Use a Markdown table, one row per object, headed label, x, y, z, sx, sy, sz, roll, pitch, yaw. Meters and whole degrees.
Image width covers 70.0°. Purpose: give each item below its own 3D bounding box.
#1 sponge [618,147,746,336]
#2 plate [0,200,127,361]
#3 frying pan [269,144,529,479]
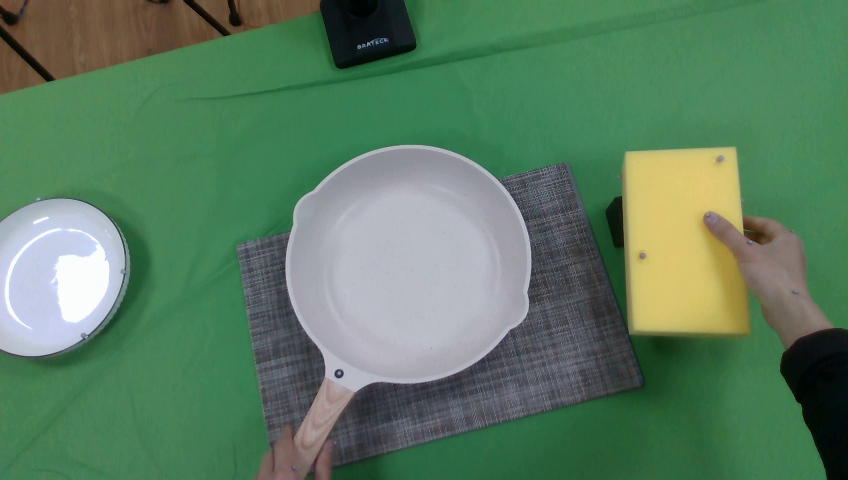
| label | x | y | z | sx | sy | sz | roll | pitch | yaw |
| --- | --- | --- | --- | --- | --- | --- | --- | --- | --- |
| sponge | 0.286 | 0.003 | 0.687 | 0.118 | 0.061 | 0.206 | -2 | 77 | 12 |
| plate | -0.479 | 0.052 | 0.776 | 0.207 | 0.039 | 0.206 | 0 | 74 | 2 |
| frying pan | -0.069 | 0.112 | 0.704 | 0.306 | 0.103 | 0.486 | 26 | 69 | 11 |
